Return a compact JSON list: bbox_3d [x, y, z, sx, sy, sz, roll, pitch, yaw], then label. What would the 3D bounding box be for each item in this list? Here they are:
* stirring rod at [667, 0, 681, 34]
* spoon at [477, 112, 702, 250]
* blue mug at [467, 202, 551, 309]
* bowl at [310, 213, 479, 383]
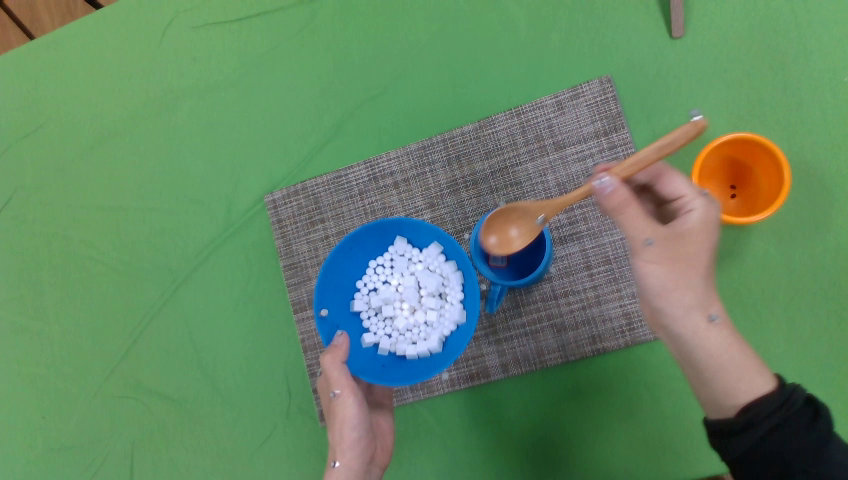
[{"bbox_3d":[0.269,-0.317,0.661,0.014,0.006,0.177,-8,106,6],"label":"stirring rod"},{"bbox_3d":[0.114,-0.039,0.449,0.193,0.021,0.042,-29,105,43],"label":"spoon"},{"bbox_3d":[0.089,0.021,0.655,0.082,0.106,0.116,22,91,13],"label":"blue mug"},{"bbox_3d":[-0.022,0.055,0.566,0.151,0.077,0.151,-1,81,7],"label":"bowl"}]
